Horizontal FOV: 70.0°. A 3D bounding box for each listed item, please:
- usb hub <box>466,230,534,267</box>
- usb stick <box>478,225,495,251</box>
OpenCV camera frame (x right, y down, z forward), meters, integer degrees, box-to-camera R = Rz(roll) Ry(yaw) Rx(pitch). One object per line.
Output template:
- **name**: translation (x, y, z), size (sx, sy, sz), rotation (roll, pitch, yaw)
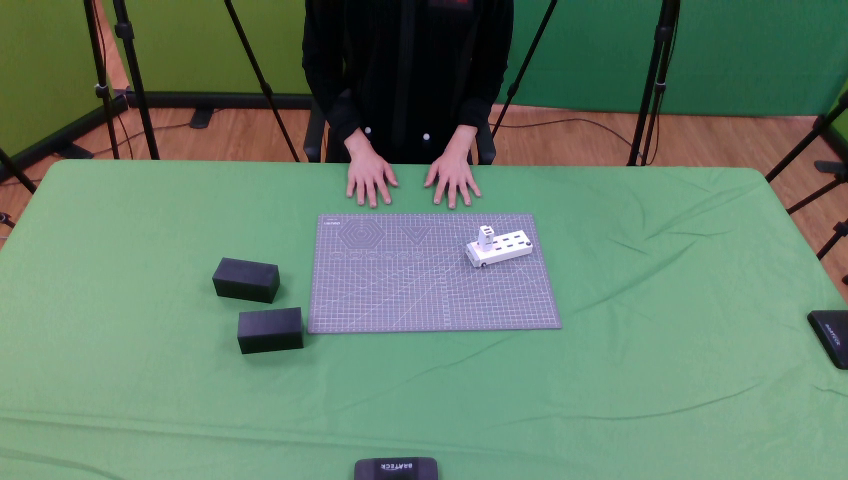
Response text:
- **usb hub**: translation (0.148, 0.017, 1.185), size (0.125, 0.025, 0.049), rotation (-14, 49, -16)
- **usb stick**: translation (0.118, 0.001, 1.158), size (0.021, 0.059, 0.027), rotation (-15, 51, -19)
